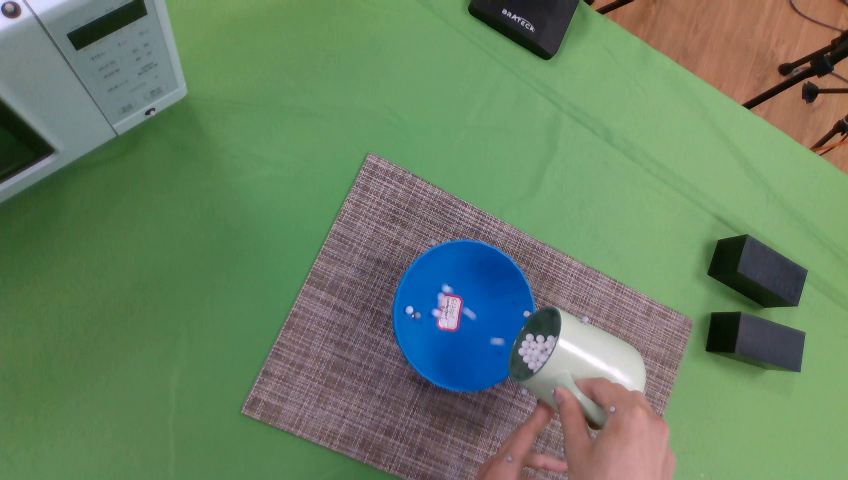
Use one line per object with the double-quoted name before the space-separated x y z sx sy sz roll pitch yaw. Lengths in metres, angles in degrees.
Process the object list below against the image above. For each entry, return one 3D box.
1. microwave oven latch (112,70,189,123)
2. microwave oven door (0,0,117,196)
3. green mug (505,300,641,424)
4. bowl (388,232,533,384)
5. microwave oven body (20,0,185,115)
"microwave oven latch" -0.264 -0.144 0.574 0.079 0.029 0.030 -35 94 -17
"microwave oven door" -0.405 -0.033 0.413 0.355 0.243 0.039 -37 93 -17
"green mug" 0.144 0.122 0.564 0.105 0.124 0.092 32 105 -15
"bowl" 0.029 0.071 0.630 0.152 0.076 0.151 2 83 -16
"microwave oven body" -0.460 -0.175 0.419 0.441 0.260 0.326 -37 95 -16
